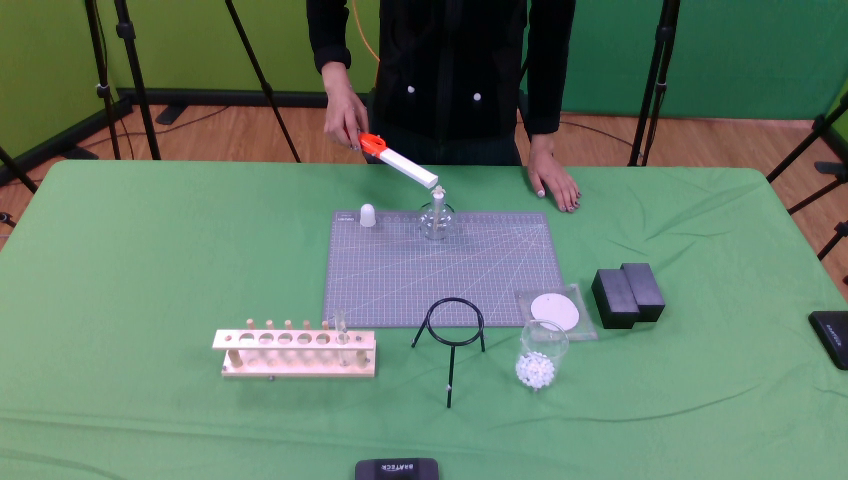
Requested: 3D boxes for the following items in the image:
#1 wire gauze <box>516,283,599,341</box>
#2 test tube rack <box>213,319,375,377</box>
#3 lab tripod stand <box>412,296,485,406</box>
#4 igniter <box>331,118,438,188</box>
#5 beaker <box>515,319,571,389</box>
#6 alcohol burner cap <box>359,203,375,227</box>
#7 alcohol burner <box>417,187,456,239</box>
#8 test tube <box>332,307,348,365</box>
[{"bbox_3d":[0.240,0.131,1.094,0.125,0.011,0.120,-3,48,-8],"label":"wire gauze"},{"bbox_3d":[-0.202,0.170,0.977,0.242,0.085,0.066,1,46,-3],"label":"test tube rack"},{"bbox_3d":[0.045,0.168,0.963,0.148,0.132,0.147,3,47,-3],"label":"lab tripod stand"},{"bbox_3d":[-0.087,-0.179,1.213,0.275,0.025,0.057,33,49,24],"label":"igniter"},{"bbox_3d":[0.186,0.186,0.980,0.074,0.101,0.083,-23,51,-24],"label":"beaker"},{"bbox_3d":[-0.115,-0.053,1.224,0.034,0.048,0.033,3,47,-3],"label":"alcohol burner cap"},{"bbox_3d":[0.026,-0.059,1.189,0.078,0.120,0.077,1,48,-1],"label":"alcohol burner"},{"bbox_3d":[-0.128,0.151,0.931,0.017,0.151,0.017,1,50,-1],"label":"test tube"}]
